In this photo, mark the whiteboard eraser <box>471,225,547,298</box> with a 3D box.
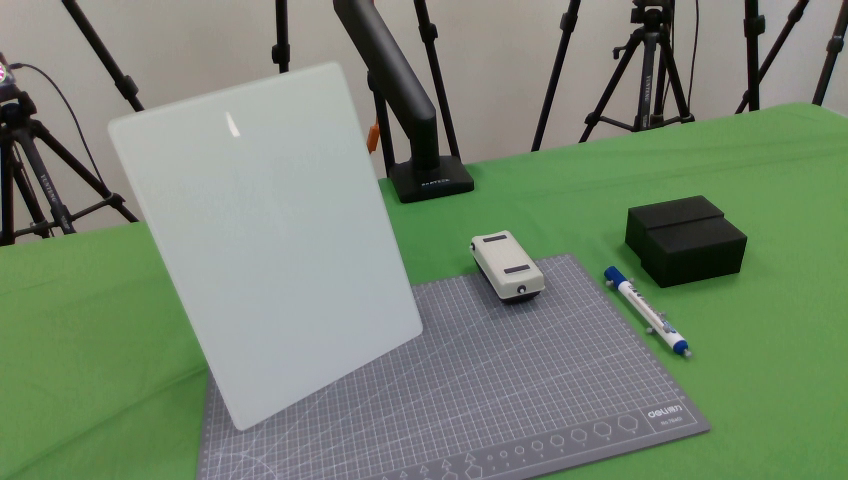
[{"bbox_3d":[0.100,0.026,0.729,0.056,0.042,0.111,-14,34,-10],"label":"whiteboard eraser"}]

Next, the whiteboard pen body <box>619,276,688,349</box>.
[{"bbox_3d":[0.244,0.071,0.667,0.017,0.017,0.139,-12,33,-9],"label":"whiteboard pen body"}]

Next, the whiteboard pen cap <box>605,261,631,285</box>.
[{"bbox_3d":[0.229,0.040,0.714,0.018,0.018,0.033,-13,32,-10],"label":"whiteboard pen cap"}]

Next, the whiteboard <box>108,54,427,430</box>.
[{"bbox_3d":[-0.159,-0.008,0.635,0.217,0.307,0.143,-25,18,-26],"label":"whiteboard"}]
